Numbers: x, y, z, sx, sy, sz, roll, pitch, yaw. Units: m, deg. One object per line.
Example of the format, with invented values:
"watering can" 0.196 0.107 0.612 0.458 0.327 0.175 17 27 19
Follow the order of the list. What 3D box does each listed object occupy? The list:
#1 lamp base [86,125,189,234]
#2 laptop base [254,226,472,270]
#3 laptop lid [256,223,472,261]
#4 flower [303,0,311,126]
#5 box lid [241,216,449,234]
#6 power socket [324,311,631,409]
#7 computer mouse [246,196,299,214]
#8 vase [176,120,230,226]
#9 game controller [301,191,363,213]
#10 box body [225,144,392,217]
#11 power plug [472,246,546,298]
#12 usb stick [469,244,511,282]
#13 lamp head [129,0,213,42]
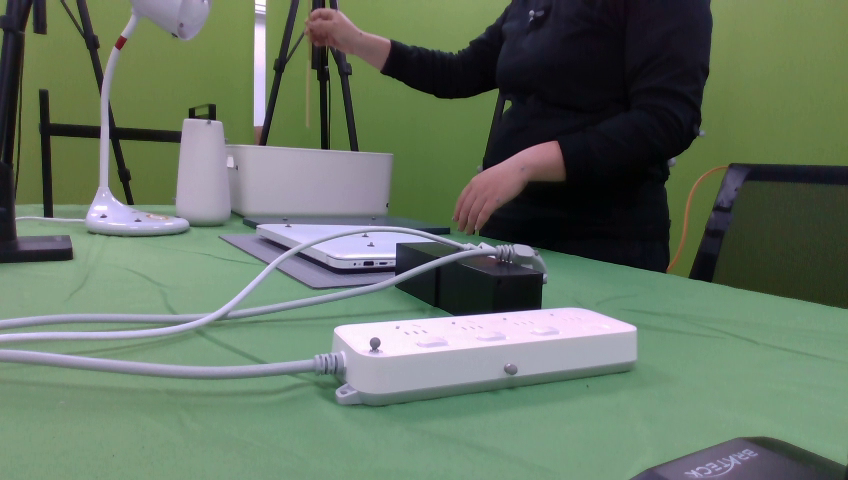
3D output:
"lamp base" -0.497 -0.105 1.027 0.179 0.180 0.160 1 7 3
"laptop base" -0.095 0.011 0.912 0.237 0.023 0.352 3 6 -32
"laptop lid" -0.092 0.000 0.912 0.243 0.013 0.355 1 7 -30
"flower" -0.255 -0.434 1.329 0.038 0.361 0.044 -2 14 -32
"box lid" -0.162 -0.030 1.233 0.373 0.015 0.262 -1 8 -32
"power socket" 0.042 0.075 0.410 0.228 0.032 0.072 -1 8 -25
"computer mouse" -0.355 -0.083 1.418 0.117 0.041 0.063 0 10 7
"vase" -0.425 -0.128 1.159 0.098 0.200 0.098 2 9 0
"game controller" -0.240 -0.098 1.550 0.155 0.051 0.097 3 9 5
"box body" -0.289 -0.143 1.475 0.366 0.160 0.253 -1 9 -29
"power plug" 0.081 0.030 0.584 0.072 0.052 0.035 11 28 9
"usb stick" 0.080 0.028 0.674 0.059 0.021 0.027 28 28 -30
"lamp head" -0.423 -0.394 0.980 0.123 0.112 0.112 20 7 -3
